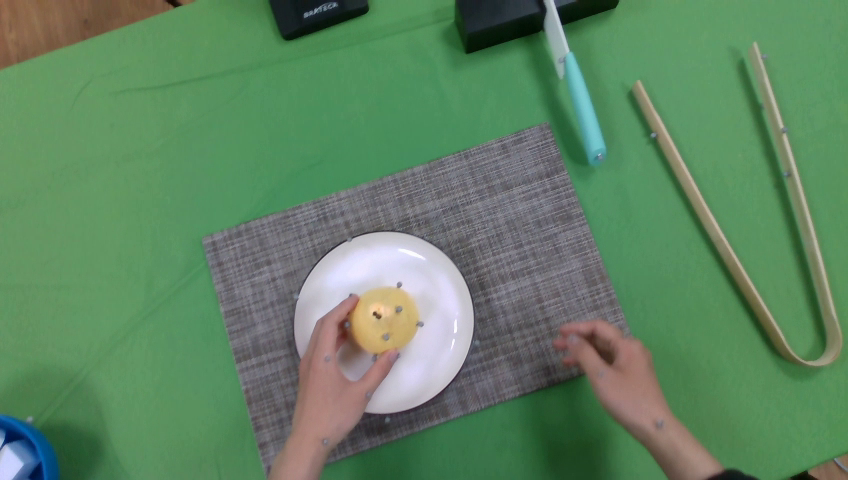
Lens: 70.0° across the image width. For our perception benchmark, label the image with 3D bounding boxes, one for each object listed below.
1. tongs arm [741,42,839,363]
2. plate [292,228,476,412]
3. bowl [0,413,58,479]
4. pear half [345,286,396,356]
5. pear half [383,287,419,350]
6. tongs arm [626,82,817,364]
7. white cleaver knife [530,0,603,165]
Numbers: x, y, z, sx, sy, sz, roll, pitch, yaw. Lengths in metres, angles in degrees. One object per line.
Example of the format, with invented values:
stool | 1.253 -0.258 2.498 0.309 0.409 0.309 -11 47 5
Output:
tongs arm | 0.419 -0.050 0.716 0.051 0.026 0.383 -14 81 1
plate | -0.045 0.090 0.699 0.207 0.039 0.207 0 80 2
bowl | -0.464 0.262 0.663 0.151 0.077 0.151 0 80 2
pear half | -0.060 0.087 0.654 0.056 0.110 0.076 -11 72 0
pear half | -0.023 0.083 0.664 0.031 0.088 0.070 -15 74 2
tongs arm | 0.342 -0.024 0.718 0.028 0.028 0.386 -26 80 -5
white cleaver knife | 0.163 -0.229 0.737 0.021 0.066 0.286 -17 89 3
